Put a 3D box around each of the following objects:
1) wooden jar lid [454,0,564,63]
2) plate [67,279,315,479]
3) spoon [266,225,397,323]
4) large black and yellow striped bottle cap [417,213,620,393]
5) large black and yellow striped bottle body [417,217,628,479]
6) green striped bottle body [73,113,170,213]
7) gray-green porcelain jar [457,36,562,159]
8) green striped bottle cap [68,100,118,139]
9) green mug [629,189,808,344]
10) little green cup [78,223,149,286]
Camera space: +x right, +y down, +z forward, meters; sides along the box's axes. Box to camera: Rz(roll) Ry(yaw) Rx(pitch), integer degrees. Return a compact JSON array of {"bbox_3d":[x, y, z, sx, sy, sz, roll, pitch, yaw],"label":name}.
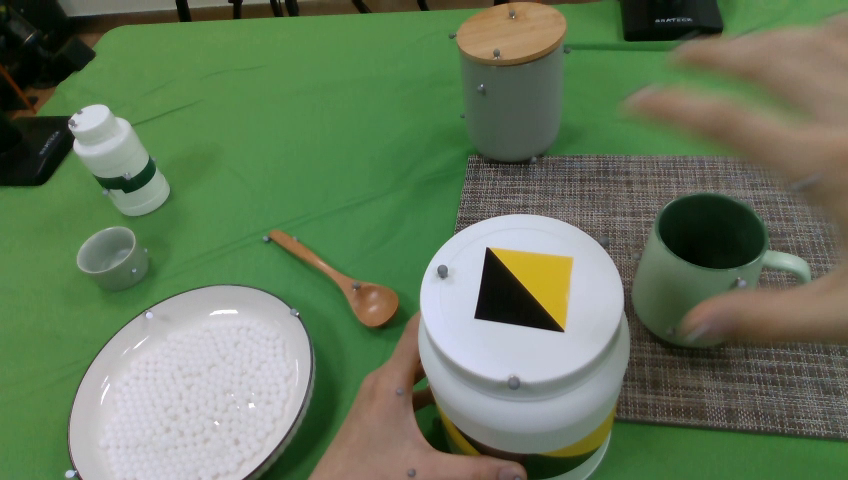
[{"bbox_3d":[0.084,-0.203,0.602,0.108,0.021,0.107,-7,48,8],"label":"wooden jar lid"},{"bbox_3d":[-0.192,0.127,0.520,0.209,0.038,0.207,-4,50,6],"label":"plate"},{"bbox_3d":[-0.097,0.026,0.598,0.192,0.022,0.041,32,78,30],"label":"spoon"},{"bbox_3d":[0.053,0.032,0.348,0.115,0.019,0.114,-3,52,5],"label":"large black and yellow striped bottle cap"},{"bbox_3d":[0.066,0.083,0.413,0.130,0.186,0.129,-5,52,7],"label":"large black and yellow striped bottle body"},{"bbox_3d":[-0.337,-0.091,0.670,0.063,0.120,0.062,-5,50,6],"label":"green striped bottle body"},{"bbox_3d":[0.092,-0.160,0.648,0.106,0.128,0.105,-4,46,5],"label":"gray-green porcelain jar"},{"bbox_3d":[-0.345,-0.125,0.631,0.044,0.020,0.044,-3,52,4],"label":"green striped bottle cap"},{"bbox_3d":[0.233,0.026,0.483,0.125,0.106,0.092,10,53,17],"label":"green mug"},{"bbox_3d":[-0.321,0.017,0.632,0.061,0.039,0.061,-5,50,6],"label":"little green cup"}]
